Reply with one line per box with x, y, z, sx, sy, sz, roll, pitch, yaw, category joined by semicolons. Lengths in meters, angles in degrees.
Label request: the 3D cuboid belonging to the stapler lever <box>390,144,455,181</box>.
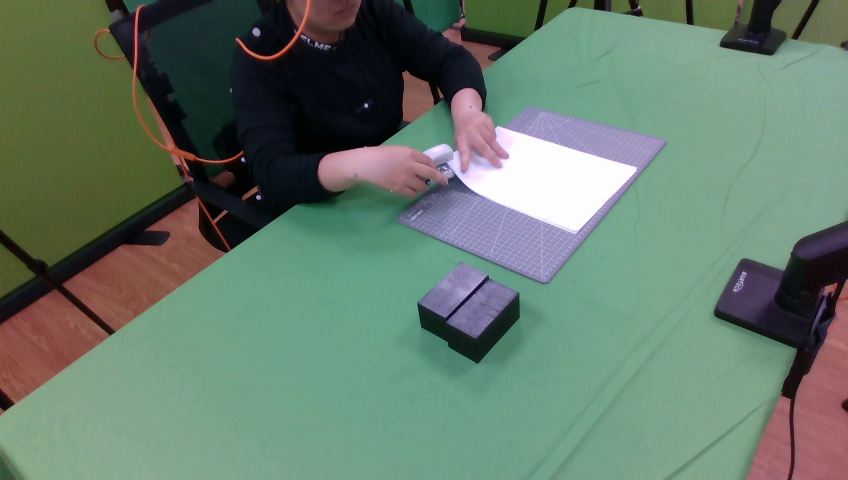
0.000;-0.135;1.046;0.119;0.040;0.026;-18;52;-26;stapler lever

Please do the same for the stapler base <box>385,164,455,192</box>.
-0.003;-0.119;1.065;0.131;0.024;0.041;-18;52;-26;stapler base
